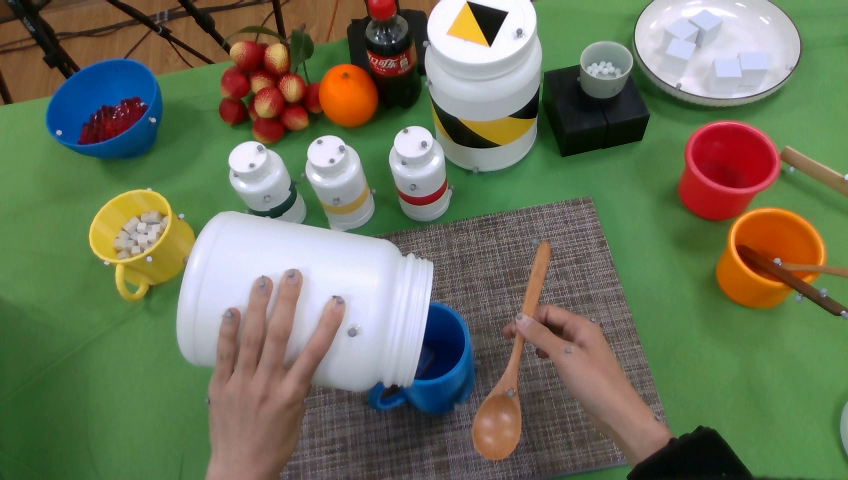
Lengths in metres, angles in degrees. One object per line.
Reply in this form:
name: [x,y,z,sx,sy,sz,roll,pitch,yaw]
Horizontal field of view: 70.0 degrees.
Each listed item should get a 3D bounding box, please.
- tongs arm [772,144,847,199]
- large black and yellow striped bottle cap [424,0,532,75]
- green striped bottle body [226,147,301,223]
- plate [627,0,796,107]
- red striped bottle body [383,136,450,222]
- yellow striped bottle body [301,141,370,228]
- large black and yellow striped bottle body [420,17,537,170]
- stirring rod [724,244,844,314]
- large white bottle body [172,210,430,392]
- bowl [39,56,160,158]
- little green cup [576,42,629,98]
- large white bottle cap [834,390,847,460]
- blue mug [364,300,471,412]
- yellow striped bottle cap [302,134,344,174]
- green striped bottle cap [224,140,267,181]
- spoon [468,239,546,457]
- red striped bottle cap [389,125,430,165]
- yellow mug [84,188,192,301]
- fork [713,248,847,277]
tongs arm: [0.568,-0.010,0.649,0.382,0.027,0.050,39,69,22]
large black and yellow striped bottle cap: [0.057,-0.224,0.639,0.115,0.019,0.114,-4,63,8]
green striped bottle body: [-0.191,-0.063,0.716,0.063,0.120,0.062,-2,61,5]
plate: [0.373,-0.255,0.801,0.209,0.038,0.207,-2,62,5]
red striped bottle body: [-0.009,-0.077,0.704,0.063,0.121,0.062,-6,59,10]
yellow striped bottle body: [-0.104,-0.070,0.709,0.063,0.121,0.062,-3,61,6]
large black and yellow striped bottle body: [0.065,-0.184,0.715,0.130,0.185,0.129,-3,62,5]
stirring rod: [0.345,0.033,0.594,0.014,0.006,0.175,-8,18,0]
large white bottle body: [-0.095,0.054,0.506,0.185,0.131,0.129,11,63,-4]
bowl: [-0.421,-0.165,0.820,0.151,0.077,0.150,-2,62,5]
little green cup: [0.213,-0.204,0.734,0.061,0.039,0.061,-2,59,3]
large white bottle cap: [0.451,0.184,0.569,0.115,0.018,0.114,-3,61,5]
blue mug: [-0.009,0.127,0.597,0.116,0.107,0.081,-36,63,-13]
yellow striped bottle cap: [-0.111,-0.094,0.663,0.044,0.019,0.044,-1,58,1]
green striped bottle cap: [-0.198,-0.088,0.670,0.044,0.020,0.044,-2,61,4]
spoon: [0.080,0.091,0.526,0.041,0.022,0.193,15,84,15]
red striped bottle cap: [-0.016,-0.104,0.657,0.044,0.018,0.044,-1,60,2]
yellow mug: [-0.344,0.010,0.725,0.100,0.064,0.130,-2,62,6]
fork: [0.375,0.029,0.585,0.028,0.019,0.206,-47,23,-16]
